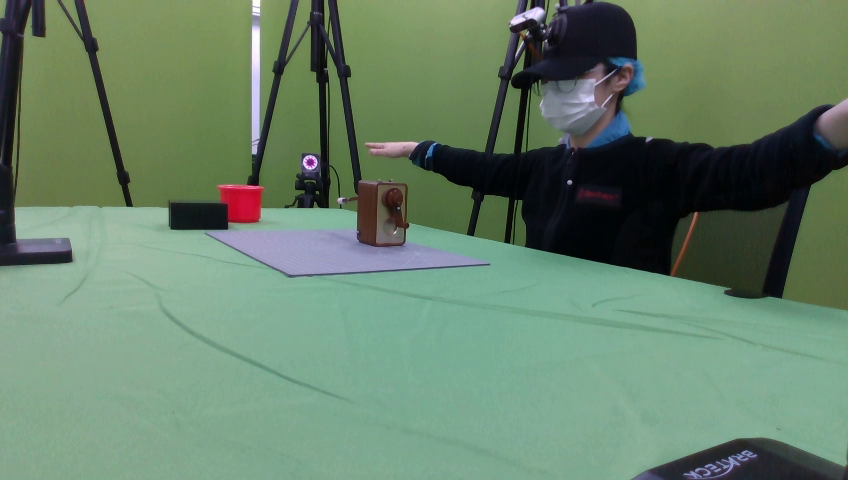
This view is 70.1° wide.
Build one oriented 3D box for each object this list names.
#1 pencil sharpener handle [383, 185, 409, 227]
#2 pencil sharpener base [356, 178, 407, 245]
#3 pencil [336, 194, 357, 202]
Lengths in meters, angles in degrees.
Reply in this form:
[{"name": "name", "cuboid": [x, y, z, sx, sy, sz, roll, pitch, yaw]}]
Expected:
[{"name": "pencil sharpener handle", "cuboid": [-0.040, -0.055, 0.976, 0.036, 0.068, 0.030, -19, 17, -29]}, {"name": "pencil sharpener base", "cuboid": [-0.071, -0.049, 1.018, 0.062, 0.107, 0.076, -2, 9, -32]}, {"name": "pencil", "cuboid": [-0.122, -0.080, 1.103, 0.012, 0.012, 0.193, -2, 0, -29]}]
